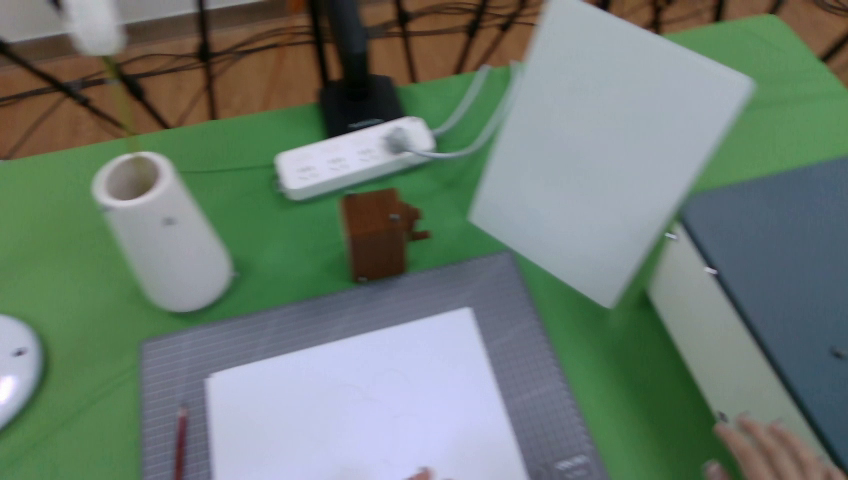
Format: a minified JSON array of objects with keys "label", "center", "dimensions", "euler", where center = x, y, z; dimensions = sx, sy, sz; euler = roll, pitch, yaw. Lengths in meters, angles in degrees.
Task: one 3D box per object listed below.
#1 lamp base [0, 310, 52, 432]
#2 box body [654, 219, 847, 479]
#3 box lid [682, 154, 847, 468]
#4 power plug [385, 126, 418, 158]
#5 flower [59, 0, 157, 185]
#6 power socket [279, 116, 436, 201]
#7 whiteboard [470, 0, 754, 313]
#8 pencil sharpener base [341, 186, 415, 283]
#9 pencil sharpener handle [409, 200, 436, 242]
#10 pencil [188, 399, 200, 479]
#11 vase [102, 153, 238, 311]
[{"label":"lamp base","center":[-0.504,0.102,0.599],"dimensions":[0.178,0.182,0.159],"euler":[13,56,12]},{"label":"box body","center":[0.430,0.115,0.604],"dimensions":[0.254,0.162,0.360],"euler":[-14,57,-10]},{"label":"box lid","center":[0.430,0.070,0.544],"dimensions":[0.264,0.015,0.367],"euler":[-14,57,-10]},{"label":"power plug","center":[-0.031,-0.121,0.813],"dimensions":[0.035,0.053,0.072],"euler":[-10,58,-6]},{"label":"flower","center":[-0.272,-0.066,0.603],"dimensions":[0.038,0.365,0.043],"euler":[-23,40,-23]},{"label":"power socket","center":[-0.089,-0.114,0.836],"dimensions":[0.227,0.033,0.071],"euler":[-18,59,-13]},{"label":"whiteboard","center":[0.216,-0.108,0.706],"dimensions":[0.215,0.307,0.144],"euler":[35,43,22]},{"label":"pencil sharpener base","center":[-0.051,-0.006,0.718],"dimensions":[0.077,0.108,0.060],"euler":[-11,56,-8]},{"label":"pencil sharpener handle","center":[-0.001,-0.022,0.715],"dimensions":[0.031,0.068,0.035],"euler":[-11,55,-8]},{"label":"pencil","center":[-0.231,0.249,0.601],"dimensions":[0.012,0.012,0.192],"euler":[-8,55,-5]},{"label":"vase","center":[-0.273,-0.003,0.660],"dimensions":[0.098,0.202,0.097],"euler":[-1,56,1]}]
